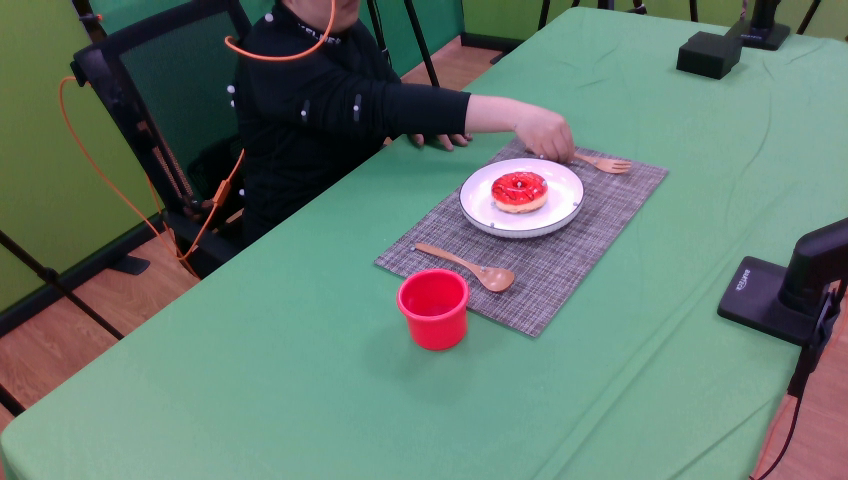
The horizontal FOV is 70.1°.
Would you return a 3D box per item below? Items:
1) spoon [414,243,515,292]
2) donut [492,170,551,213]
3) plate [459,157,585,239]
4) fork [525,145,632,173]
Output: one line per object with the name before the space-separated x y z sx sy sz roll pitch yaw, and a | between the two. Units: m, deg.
spoon | 0.057 0.035 0.924 0.192 0.022 0.041 25 68 34
donut | 0.163 -0.083 1.015 0.099 0.048 0.098 -6 37 5
plate | 0.163 -0.068 1.015 0.209 0.038 0.208 -5 40 5
fork | 0.278 -0.152 1.107 0.206 0.019 0.028 19 73 30
